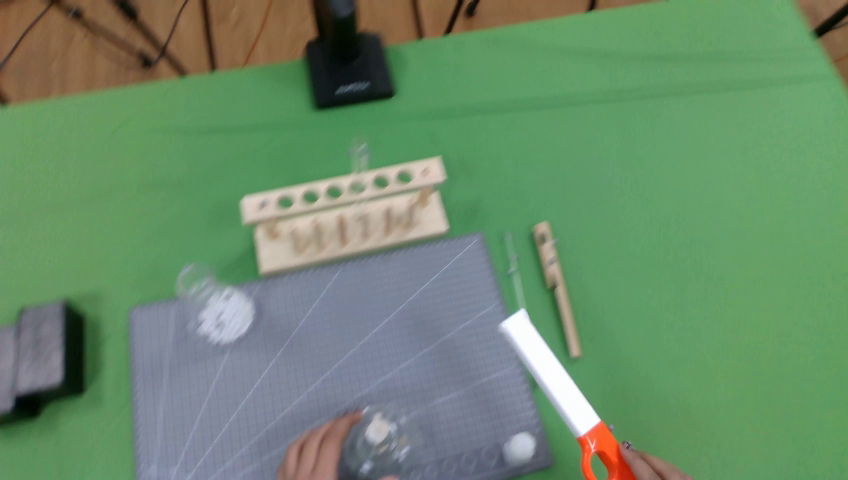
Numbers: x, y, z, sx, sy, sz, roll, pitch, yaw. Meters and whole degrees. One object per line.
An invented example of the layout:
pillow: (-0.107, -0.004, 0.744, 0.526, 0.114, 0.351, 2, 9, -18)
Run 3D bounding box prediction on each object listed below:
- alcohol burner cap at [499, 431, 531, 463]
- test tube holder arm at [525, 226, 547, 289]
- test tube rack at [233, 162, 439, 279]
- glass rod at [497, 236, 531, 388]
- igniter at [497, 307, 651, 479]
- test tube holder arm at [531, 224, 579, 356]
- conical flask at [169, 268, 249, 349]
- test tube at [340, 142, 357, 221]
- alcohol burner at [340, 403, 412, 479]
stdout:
alcohol burner cap: (0.102, 0.227, 0.671, 0.034, 0.048, 0.033, 1, 63, -1)
test tube holder arm: (0.149, 0.023, 0.788, 0.010, 0.015, 0.087, -25, 64, 25)
test tube rack: (-0.104, -0.024, 0.762, 0.243, 0.086, 0.066, -13, 66, -8)
glass rod: (0.112, 0.086, 0.760, 0.008, 0.008, 0.198, -6, 67, -5)
igniter: (0.159, 0.188, 0.581, 0.057, 0.025, 0.275, -29, 78, -23)
test tube holder arm: (0.164, 0.060, 0.768, 0.013, 0.015, 0.177, -26, 63, 24)
conical flask: (-0.248, 0.073, 0.686, 0.075, 0.123, 0.074, 1, 64, -2)
test tube: (-0.090, -0.066, 0.728, 0.017, 0.151, 0.017, 2, 61, -4)
alcohol burner: (-0.051, 0.207, 0.635, 0.078, 0.120, 0.077, 0, 63, 0)
